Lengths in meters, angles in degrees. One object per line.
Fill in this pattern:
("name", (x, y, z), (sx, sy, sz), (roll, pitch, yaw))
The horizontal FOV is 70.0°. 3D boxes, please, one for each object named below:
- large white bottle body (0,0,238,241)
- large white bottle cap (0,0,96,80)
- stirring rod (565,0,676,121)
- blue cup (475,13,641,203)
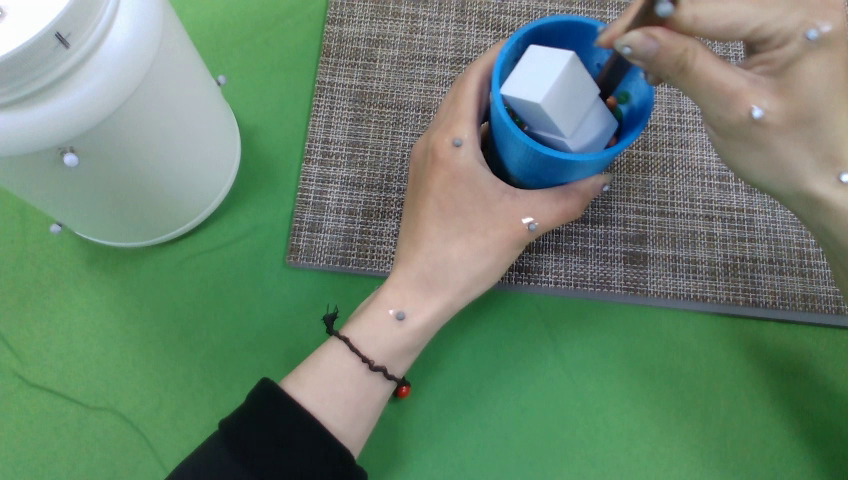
("large white bottle body", (-0.187, -0.085, 0.318), (0.131, 0.185, 0.130), (0, 73, -1))
("large white bottle cap", (-0.186, -0.112, 0.238), (0.115, 0.018, 0.114), (0, 73, -1))
("stirring rod", (0.095, -0.089, 0.294), (0.014, 0.176, 0.006), (-14, 80, -3))
("blue cup", (0.071, -0.066, 0.359), (0.092, 0.101, 0.092), (0, 74, 2))
